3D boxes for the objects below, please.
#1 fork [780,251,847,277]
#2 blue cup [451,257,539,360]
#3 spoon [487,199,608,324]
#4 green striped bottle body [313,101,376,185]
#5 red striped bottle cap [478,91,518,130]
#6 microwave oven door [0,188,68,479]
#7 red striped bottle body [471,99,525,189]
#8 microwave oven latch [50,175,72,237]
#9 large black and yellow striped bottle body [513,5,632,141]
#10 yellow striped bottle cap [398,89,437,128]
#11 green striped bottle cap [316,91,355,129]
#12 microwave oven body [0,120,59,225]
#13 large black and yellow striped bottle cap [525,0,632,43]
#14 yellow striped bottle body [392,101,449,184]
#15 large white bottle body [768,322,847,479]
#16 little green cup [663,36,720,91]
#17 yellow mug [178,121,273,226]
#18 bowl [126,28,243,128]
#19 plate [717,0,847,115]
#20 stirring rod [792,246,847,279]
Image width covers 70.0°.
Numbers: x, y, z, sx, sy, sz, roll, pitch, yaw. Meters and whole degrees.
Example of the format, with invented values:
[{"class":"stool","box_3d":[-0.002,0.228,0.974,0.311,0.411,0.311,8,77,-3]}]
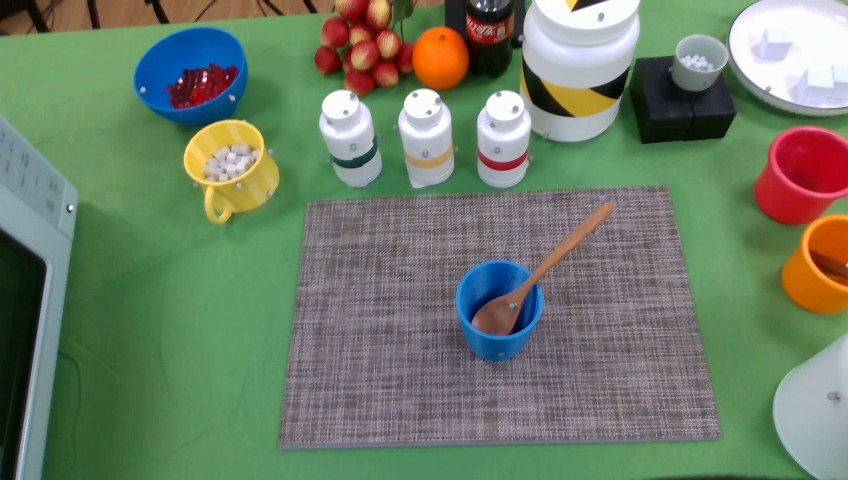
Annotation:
[{"class":"fork","box_3d":[0.454,0.035,0.594,0.028,0.019,0.206,-35,20,-18]},{"class":"blue cup","box_3d":[0.071,0.079,0.625,0.092,0.101,0.092,-1,59,2]},{"class":"spoon","box_3d":[0.107,0.033,0.584,0.194,0.022,0.041,-51,56,27]},{"class":"green striped bottle body","box_3d":[-0.097,-0.125,0.745,0.063,0.120,0.062,-2,61,4]},{"class":"red striped bottle cap","box_3d":[0.084,-0.146,0.681,0.044,0.018,0.044,0,60,0]},{"class":"microwave oven door","box_3d":[-0.436,0.098,0.563,0.039,0.246,0.352,-11,61,0]},{"class":"red striped bottle body","box_3d":[0.090,-0.120,0.727,0.063,0.121,0.062,-4,59,7]},{"class":"microwave oven latch","box_3d":[-0.463,-0.041,0.756,0.030,0.030,0.078,-9,62,0]},{"class":"large black and yellow striped bottle body","box_3d":[0.176,-0.225,0.739,0.131,0.185,0.129,-2,61,4]},{"class":"yellow striped bottle cap","box_3d":[-0.008,-0.151,0.692,0.044,0.019,0.044,-2,63,3]},{"class":"green striped bottle cap","box_3d":[-0.103,-0.150,0.700,0.044,0.020,0.044,-2,60,3]},{"class":"microwave oven body","box_3d":[-0.586,0.092,0.585,0.326,0.262,0.437,-11,62,-1]},{"class":"large black and yellow striped bottle cap","box_3d":[0.169,-0.264,0.665,0.115,0.019,0.114,-2,60,5]},{"class":"yellow striped bottle body","box_3d":[-0.003,-0.126,0.737,0.063,0.121,0.062,-2,61,5]},{"class":"large white bottle body","box_3d":[0.400,0.135,0.523,0.130,0.186,0.129,-2,61,4]},{"class":"little green cup","box_3d":[0.327,-0.216,0.747,0.061,0.039,0.061,-1,60,3]},{"class":"yellow mug","box_3d":[-0.253,-0.079,0.764,0.100,0.064,0.130,7,63,8]},{"class":"bowl","box_3d":[-0.314,-0.208,0.832,0.151,0.077,0.150,-2,62,3]},{"class":"plate","box_3d":[0.495,-0.245,0.806,0.209,0.038,0.207,-2,62,4]},{"class":"stirring rod","box_3d":[0.426,0.036,0.602,0.014,0.006,0.175,-8,18,0]}]
